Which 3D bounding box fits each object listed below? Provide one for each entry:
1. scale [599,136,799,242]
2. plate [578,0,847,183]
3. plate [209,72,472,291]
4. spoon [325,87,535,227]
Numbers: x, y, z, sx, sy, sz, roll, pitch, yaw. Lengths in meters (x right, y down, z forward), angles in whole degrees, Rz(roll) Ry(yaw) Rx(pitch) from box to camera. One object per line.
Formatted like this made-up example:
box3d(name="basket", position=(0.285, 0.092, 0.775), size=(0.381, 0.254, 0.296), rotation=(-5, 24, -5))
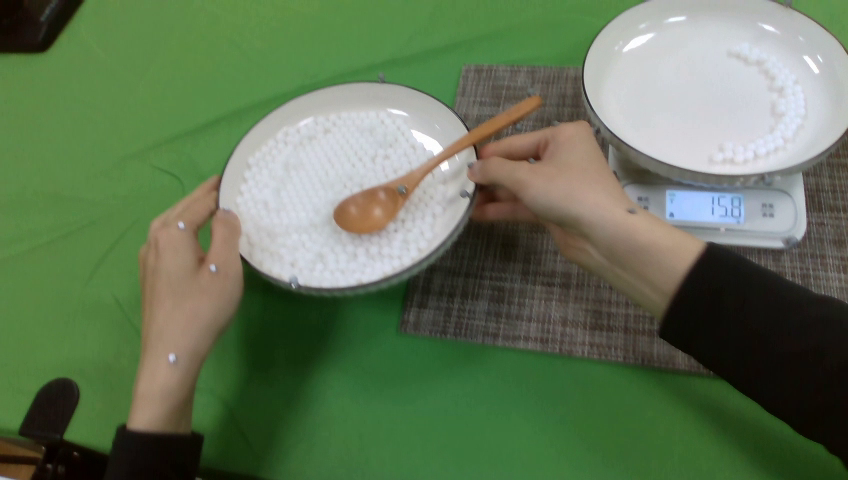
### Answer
box3d(name="scale", position=(0.230, -0.092, 0.515), size=(0.148, 0.032, 0.199), rotation=(5, 60, 13))
box3d(name="plate", position=(0.232, -0.127, 0.497), size=(0.207, 0.039, 0.205), rotation=(-4, 58, 7))
box3d(name="plate", position=(-0.064, -0.048, 0.488), size=(0.209, 0.038, 0.207), rotation=(-2, 59, 4))
box3d(name="spoon", position=(0.009, -0.068, 0.472), size=(0.194, 0.022, 0.041), rotation=(-34, 61, -5))
